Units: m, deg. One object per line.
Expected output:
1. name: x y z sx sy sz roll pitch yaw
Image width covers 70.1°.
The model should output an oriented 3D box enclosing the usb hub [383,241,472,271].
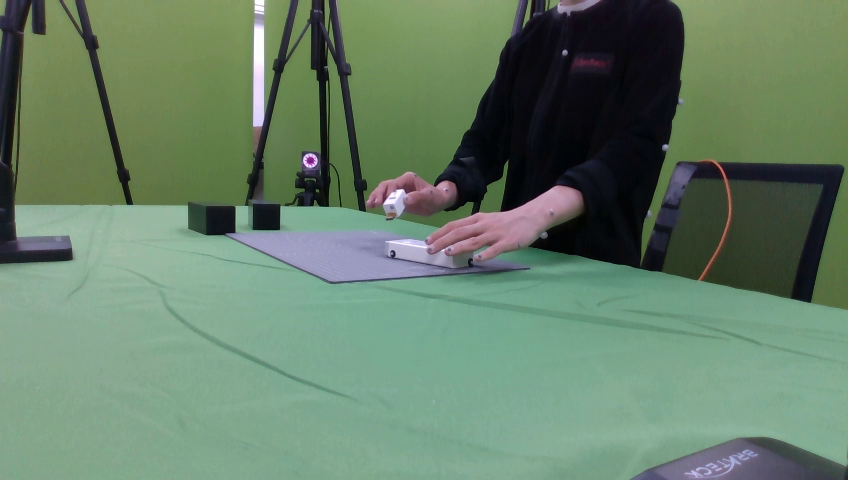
1. usb hub: 0.003 0.020 0.842 0.124 0.025 0.050 8 9 39

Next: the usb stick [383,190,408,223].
1. usb stick: -0.046 -0.050 0.926 0.021 0.027 0.059 -2 39 24
